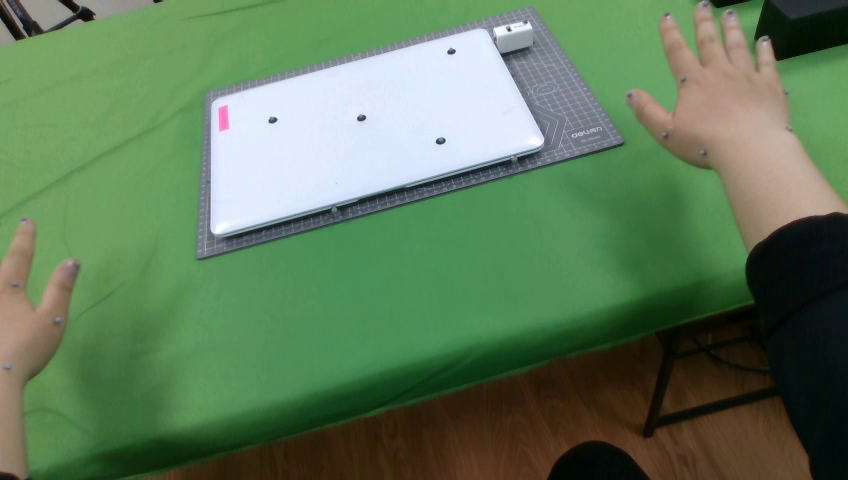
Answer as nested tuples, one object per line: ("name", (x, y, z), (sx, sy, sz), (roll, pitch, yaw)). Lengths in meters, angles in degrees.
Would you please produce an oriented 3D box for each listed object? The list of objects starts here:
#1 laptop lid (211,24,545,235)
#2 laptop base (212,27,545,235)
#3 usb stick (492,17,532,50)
("laptop lid", (-0.069, -0.137, 0.679), (0.357, 0.013, 0.239), (-15, 51, 0))
("laptop base", (-0.067, -0.132, 0.689), (0.354, 0.023, 0.233), (-16, 52, -1))
("usb stick", (0.100, -0.249, 0.735), (0.059, 0.027, 0.021), (-16, 48, 2))
